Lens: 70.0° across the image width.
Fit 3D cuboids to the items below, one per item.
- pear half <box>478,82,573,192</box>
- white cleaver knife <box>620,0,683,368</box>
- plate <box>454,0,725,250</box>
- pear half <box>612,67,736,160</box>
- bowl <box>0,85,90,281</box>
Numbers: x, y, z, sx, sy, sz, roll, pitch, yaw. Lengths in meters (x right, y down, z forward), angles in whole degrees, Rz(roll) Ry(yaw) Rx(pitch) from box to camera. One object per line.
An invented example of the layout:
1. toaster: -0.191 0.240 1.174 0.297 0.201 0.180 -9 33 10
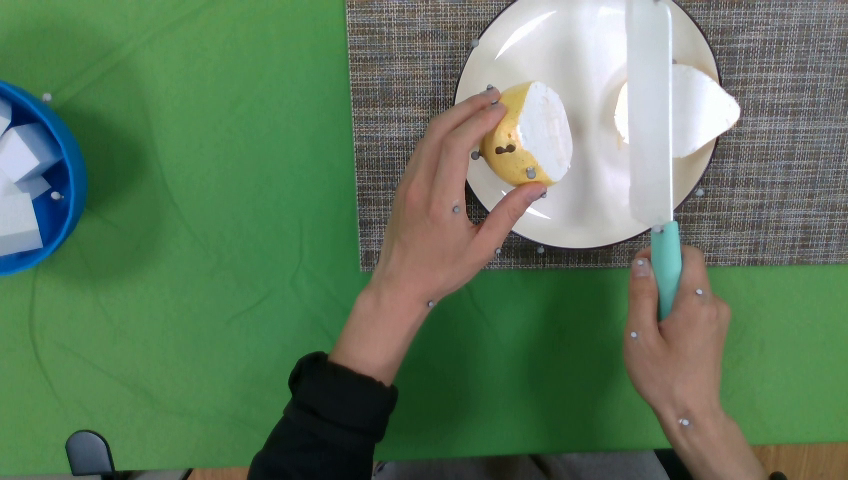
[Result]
1. pear half: 0.062 -0.067 0.426 0.056 0.110 0.076 -20 93 33
2. white cleaver knife: 0.169 -0.031 0.448 0.021 0.065 0.288 -12 112 -6
3. plate: 0.127 -0.097 0.480 0.208 0.039 0.208 0 105 0
4. pear half: 0.194 -0.098 0.474 0.087 0.031 0.070 7 104 16
5. bowl: -0.326 -0.050 0.471 0.151 0.076 0.152 0 105 -1
